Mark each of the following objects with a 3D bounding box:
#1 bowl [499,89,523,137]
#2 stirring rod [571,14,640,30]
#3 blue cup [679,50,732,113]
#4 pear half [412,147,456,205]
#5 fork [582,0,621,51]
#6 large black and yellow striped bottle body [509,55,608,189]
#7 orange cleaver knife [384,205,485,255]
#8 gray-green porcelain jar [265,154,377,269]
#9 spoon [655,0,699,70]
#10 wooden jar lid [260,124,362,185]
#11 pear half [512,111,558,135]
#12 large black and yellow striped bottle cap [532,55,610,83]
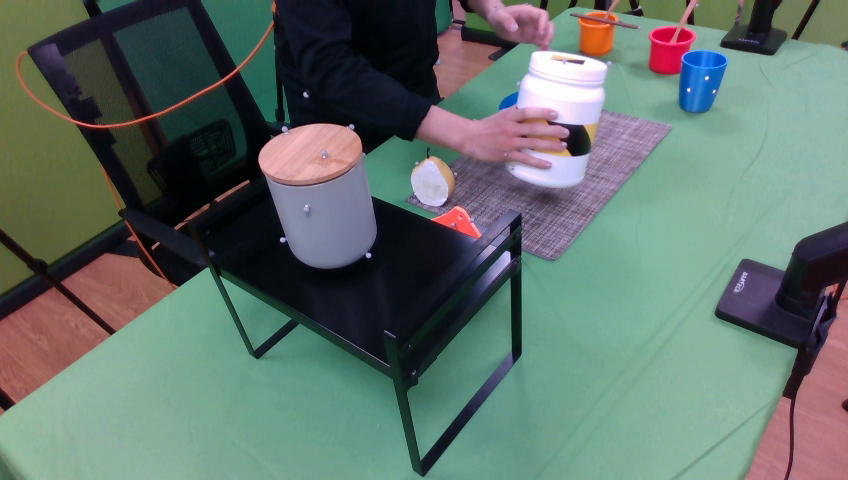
[{"bbox_3d":[0.220,-0.223,1.155,0.151,0.077,0.150,-4,40,4],"label":"bowl"},{"bbox_3d":[0.418,-0.508,1.404,0.174,0.006,0.014,28,54,35],"label":"stirring rod"},{"bbox_3d":[0.546,-0.309,1.193,0.092,0.100,0.092,-4,39,4],"label":"blue cup"},{"bbox_3d":[0.019,-0.120,1.043,0.076,0.110,0.056,11,44,16],"label":"pear half"},{"bbox_3d":[0.446,-0.538,1.438,0.207,0.019,0.028,-57,36,12],"label":"fork"},{"bbox_3d":[0.213,-0.188,0.956,0.131,0.184,0.130,6,28,-3],"label":"large black and yellow striped bottle body"},{"bbox_3d":[0.012,-0.010,0.942,0.012,0.077,0.210,-37,19,-35],"label":"orange cleaver knife"},{"bbox_3d":[-0.112,-0.039,0.685,0.106,0.127,0.105,-4,40,4],"label":"gray-green porcelain jar"},{"bbox_3d":[0.567,-0.463,1.337,0.041,0.022,0.193,30,97,38],"label":"spoon"},{"bbox_3d":[-0.119,-0.088,0.645,0.108,0.021,0.108,-4,40,4],"label":"wooden jar lid"},{"bbox_3d":[0.212,-0.227,1.153,0.088,0.031,0.070,7,45,11],"label":"pear half"},{"bbox_3d":[0.222,-0.260,0.916,0.115,0.019,0.114,6,27,-3],"label":"large black and yellow striped bottle cap"}]
